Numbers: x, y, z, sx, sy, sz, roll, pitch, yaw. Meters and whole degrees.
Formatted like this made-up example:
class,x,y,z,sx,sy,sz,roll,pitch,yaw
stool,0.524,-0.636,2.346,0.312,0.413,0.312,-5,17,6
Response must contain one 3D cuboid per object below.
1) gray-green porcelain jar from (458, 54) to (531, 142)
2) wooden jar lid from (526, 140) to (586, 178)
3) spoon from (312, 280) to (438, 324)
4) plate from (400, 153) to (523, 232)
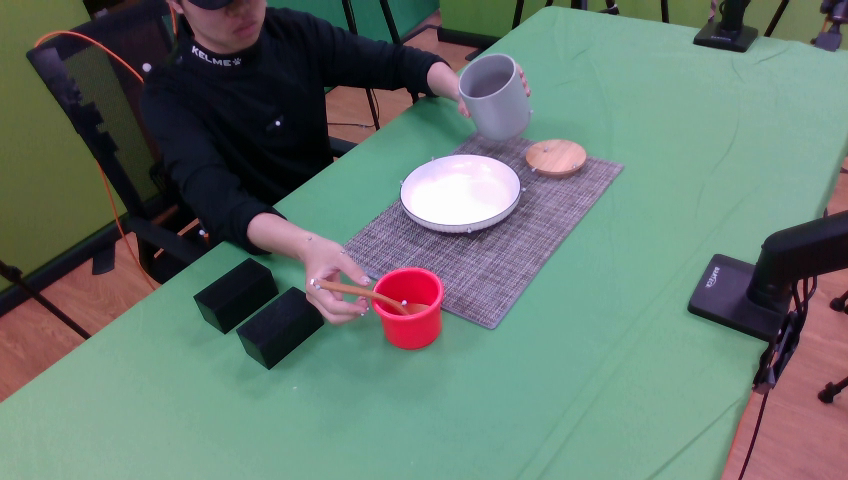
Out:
class,x,y,z,sx,sy,sz,roll,pitch,yaw
gray-green porcelain jar,0.130,-0.247,1.076,0.105,0.127,0.105,-12,55,19
wooden jar lid,0.240,-0.147,1.103,0.108,0.021,0.108,-4,42,4
spoon,-0.060,0.078,0.793,0.195,0.021,0.041,24,25,-35
plate,0.065,-0.078,1.034,0.207,0.039,0.206,-4,41,4
